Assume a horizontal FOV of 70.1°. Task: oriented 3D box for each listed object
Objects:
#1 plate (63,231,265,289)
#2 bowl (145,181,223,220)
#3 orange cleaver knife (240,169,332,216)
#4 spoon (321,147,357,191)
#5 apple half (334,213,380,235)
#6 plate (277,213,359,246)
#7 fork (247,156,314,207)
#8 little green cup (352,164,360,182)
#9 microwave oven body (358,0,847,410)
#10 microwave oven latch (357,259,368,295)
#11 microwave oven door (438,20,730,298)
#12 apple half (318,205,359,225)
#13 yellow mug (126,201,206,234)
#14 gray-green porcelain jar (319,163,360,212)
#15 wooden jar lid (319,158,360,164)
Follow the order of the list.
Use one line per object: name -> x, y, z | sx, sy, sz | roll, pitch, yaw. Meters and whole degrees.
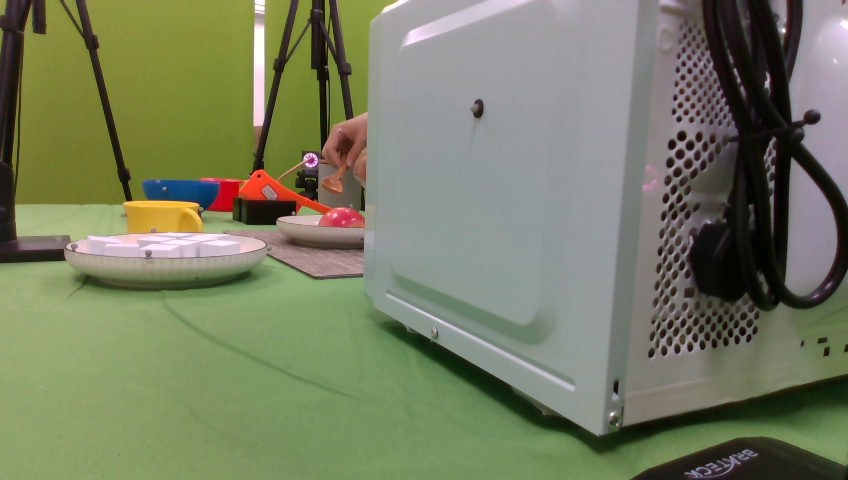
plate -> -0.288, 0.021, 0.687 | 0.208, 0.039, 0.207 | 2, 8, 0
bowl -> -0.499, -0.081, 1.261 | 0.151, 0.077, 0.151 | 2, 8, 0
orange cleaver knife -> -0.286, -0.082, 1.299 | 0.212, 0.077, 0.012 | 25, -2, -31
spoon -> -0.152, -0.138, 1.141 | 0.042, 0.021, 0.193 | 27, 34, -6
apple half -> -0.112, -0.029, 1.034 | 0.081, 0.033, 0.081 | 0, 9, 0
plate -> -0.135, -0.018, 0.993 | 0.209, 0.038, 0.209 | 2, 7, 0
fork -> -0.360, -0.147, 1.523 | 0.207, 0.018, 0.028 | -43, 15, -6
little green cup -> -0.085, -0.114, 1.012 | 0.061, 0.038, 0.061 | -32, -1, 0
microwave oven body -> 0.210, -0.051, 0.471 | 0.444, 0.260, 0.324 | -1, 7, -28
microwave oven latch -> -0.019, 0.031, 0.529 | 0.079, 0.029, 0.030 | -1, 7, -26
microwave oven door -> 0.181, -0.076, 0.618 | 0.358, 0.243, 0.039 | -2, 8, -28
apple half -> -0.126, -0.028, 0.954 | 0.081, 0.053, 0.074 | -2, 11, -33
yellow mug -> -0.360, -0.019, 0.866 | 0.130, 0.064, 0.100 | 6, 9, 27
gray-green porcelain jar -> -0.204, -0.126, 1.489 | 0.106, 0.126, 0.106 | 2, 7, 0
wooden jar lid -> -0.203, -0.189, 1.482 | 0.108, 0.020, 0.108 | 2, 10, 0
